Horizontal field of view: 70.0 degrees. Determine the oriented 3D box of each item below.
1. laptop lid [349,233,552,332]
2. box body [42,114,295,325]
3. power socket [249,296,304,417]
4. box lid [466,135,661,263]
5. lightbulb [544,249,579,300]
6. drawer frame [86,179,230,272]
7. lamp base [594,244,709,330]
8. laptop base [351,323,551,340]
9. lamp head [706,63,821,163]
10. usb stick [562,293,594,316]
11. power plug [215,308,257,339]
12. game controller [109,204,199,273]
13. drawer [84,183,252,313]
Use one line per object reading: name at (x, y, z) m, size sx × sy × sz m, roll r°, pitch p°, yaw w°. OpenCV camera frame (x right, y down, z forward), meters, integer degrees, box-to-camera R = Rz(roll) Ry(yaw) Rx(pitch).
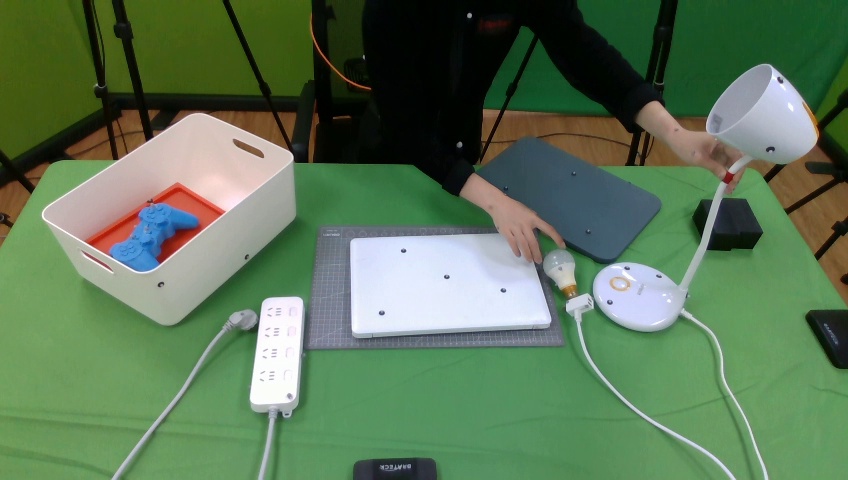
laptop lid at (0.040, 0.070, 1.119) m, size 0.357 × 0.013 × 0.240 m, roll -1°, pitch 44°, yaw -5°
box body at (-0.437, -0.046, 1.110) m, size 0.253 × 0.161 × 0.363 m, roll 24°, pitch 49°, yaw 19°
power socket at (-0.239, 0.182, 0.996) m, size 0.072 × 0.033 × 0.225 m, roll -2°, pitch 47°, yaw -5°
box lid at (0.306, -0.102, 1.327) m, size 0.370 × 0.015 × 0.263 m, roll 32°, pitch 52°, yaw 25°
lightbulb at (0.262, 0.067, 1.136) m, size 0.059 × 0.060 × 0.107 m, roll -10°, pitch 64°, yaw -14°
drawer frame at (-0.453, 0.010, 1.100) m, size 0.201 × 0.083 × 0.213 m, roll 28°, pitch 55°, yaw 22°
lamp base at (0.412, 0.052, 1.070) m, size 0.179 × 0.181 × 0.160 m, roll 18°, pitch 48°, yaw 9°
laptop base at (0.040, 0.081, 1.126) m, size 0.355 × 0.023 × 0.234 m, roll -2°, pitch 43°, yaw -7°
lamp head at (0.460, -0.155, 0.813) m, size 0.123 × 0.112 × 0.112 m, roll 36°, pitch 47°, yaw -12°
usb stick at (0.275, 0.118, 1.087) m, size 0.021 × 0.059 × 0.027 m, roll 38°, pitch 45°, yaw -27°
power plug at (-0.316, 0.143, 1.024) m, size 0.072 × 0.053 × 0.035 m, roll -33°, pitch 57°, yaw -8°
game controller at (-0.467, -0.005, 1.044) m, size 0.097 × 0.052 × 0.154 m, roll 8°, pitch 45°, yaw 10°
drawer at (-0.457, 0.008, 1.099) m, size 0.194 × 0.073 × 0.211 m, roll 29°, pitch 49°, yaw 21°
